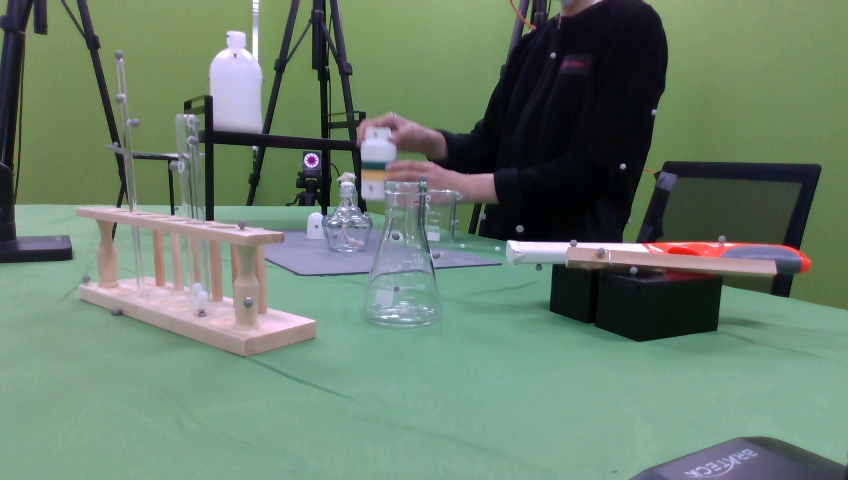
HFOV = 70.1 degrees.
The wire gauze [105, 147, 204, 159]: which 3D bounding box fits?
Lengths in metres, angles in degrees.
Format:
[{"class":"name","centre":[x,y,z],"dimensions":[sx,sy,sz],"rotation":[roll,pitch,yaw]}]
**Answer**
[{"class":"wire gauze","centre":[-0.407,-0.131,0.928],"dimensions":[0.125,0.011,0.121],"rotation":[2,6,-11]}]

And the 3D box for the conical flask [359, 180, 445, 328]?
[{"class":"conical flask","centre":[-0.017,0.010,0.522],"dimensions":[0.075,0.122,0.075],"rotation":[2,7,0]}]

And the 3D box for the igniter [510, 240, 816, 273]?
[{"class":"igniter","centre":[0.220,0.015,0.565],"dimensions":[0.277,0.025,0.057],"rotation":[2,16,0]}]

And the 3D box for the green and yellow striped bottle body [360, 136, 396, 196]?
[{"class":"green and yellow striped bottle body","centre":[-0.080,-0.138,1.062],"dimensions":[0.063,0.119,0.063],"rotation":[1,8,0]}]

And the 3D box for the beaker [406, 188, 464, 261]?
[{"class":"beaker","centre":[0.014,-0.024,0.870],"dimensions":[0.084,0.100,0.074],"rotation":[3,8,-4]}]

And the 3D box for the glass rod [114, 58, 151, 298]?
[{"class":"glass rod","centre":[-0.236,-0.044,0.492],"dimensions":[0.008,0.199,0.008],"rotation":[0,15,0]}]

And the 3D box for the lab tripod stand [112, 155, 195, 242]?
[{"class":"lab tripod stand","centre":[-0.405,-0.064,0.931],"dimensions":[0.148,0.131,0.148],"rotation":[1,6,0]}]

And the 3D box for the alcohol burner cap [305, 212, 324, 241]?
[{"class":"alcohol burner cap","centre":[-0.185,-0.023,1.027],"dimensions":[0.034,0.048,0.034],"rotation":[2,7,0]}]

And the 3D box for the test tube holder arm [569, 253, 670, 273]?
[{"class":"test tube holder arm","centre":[0.172,0.019,0.532],"dimensions":[0.088,0.015,0.010],"rotation":[3,-23,3]}]

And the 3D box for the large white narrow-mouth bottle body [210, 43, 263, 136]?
[{"class":"large white narrow-mouth bottle body","centre":[-0.369,-0.305,1.194],"dimensions":[0.102,0.194,0.102],"rotation":[3,8,0]}]

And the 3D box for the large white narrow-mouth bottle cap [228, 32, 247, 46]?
[{"class":"large white narrow-mouth bottle cap","centre":[-0.364,-0.391,1.180],"dimensions":[0.038,0.024,0.037],"rotation":[3,8,0]}]

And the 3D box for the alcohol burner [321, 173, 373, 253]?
[{"class":"alcohol burner","centre":[-0.115,-0.041,0.905],"dimensions":[0.078,0.119,0.078],"rotation":[1,6,0]}]

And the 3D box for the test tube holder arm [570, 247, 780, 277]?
[{"class":"test tube holder arm","centre":[0.217,0.019,0.525],"dimensions":[0.178,0.015,0.013],"rotation":[3,-23,3]}]

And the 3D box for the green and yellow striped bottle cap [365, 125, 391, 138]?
[{"class":"green and yellow striped bottle cap","centre":[-0.080,-0.189,1.053],"dimensions":[0.045,0.020,0.045],"rotation":[2,8,0]}]

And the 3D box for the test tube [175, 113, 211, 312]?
[{"class":"test tube","centre":[-0.174,-0.020,0.458],"dimensions":[0.017,0.150,0.017],"rotation":[-3,5,1]}]

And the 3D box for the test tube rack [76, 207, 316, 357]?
[{"class":"test tube rack","centre":[-0.196,0.023,0.499],"dimensions":[0.241,0.085,0.067],"rotation":[8,9,36]}]
